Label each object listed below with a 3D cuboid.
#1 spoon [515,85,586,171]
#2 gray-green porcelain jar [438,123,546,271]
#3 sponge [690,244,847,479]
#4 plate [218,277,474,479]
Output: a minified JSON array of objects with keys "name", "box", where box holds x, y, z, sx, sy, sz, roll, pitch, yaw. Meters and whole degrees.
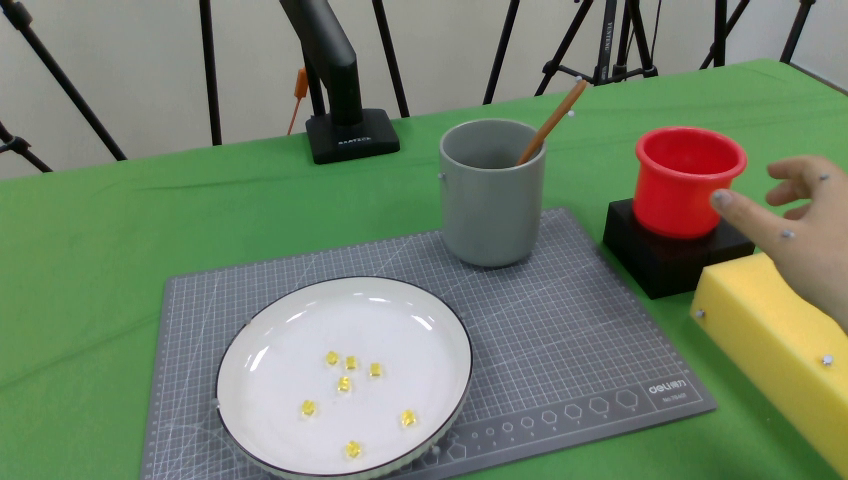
[{"name":"spoon","box":[0.098,-0.069,0.597,0.022,0.194,0.041,22,30,-13]},{"name":"gray-green porcelain jar","box":[0.069,-0.040,0.622,0.106,0.127,0.105,-2,38,2]},{"name":"sponge","box":[0.334,0.095,0.488,0.118,0.061,0.204,-13,39,-13]},{"name":"plate","box":[-0.062,0.112,0.507,0.207,0.039,0.205,-2,38,2]}]
